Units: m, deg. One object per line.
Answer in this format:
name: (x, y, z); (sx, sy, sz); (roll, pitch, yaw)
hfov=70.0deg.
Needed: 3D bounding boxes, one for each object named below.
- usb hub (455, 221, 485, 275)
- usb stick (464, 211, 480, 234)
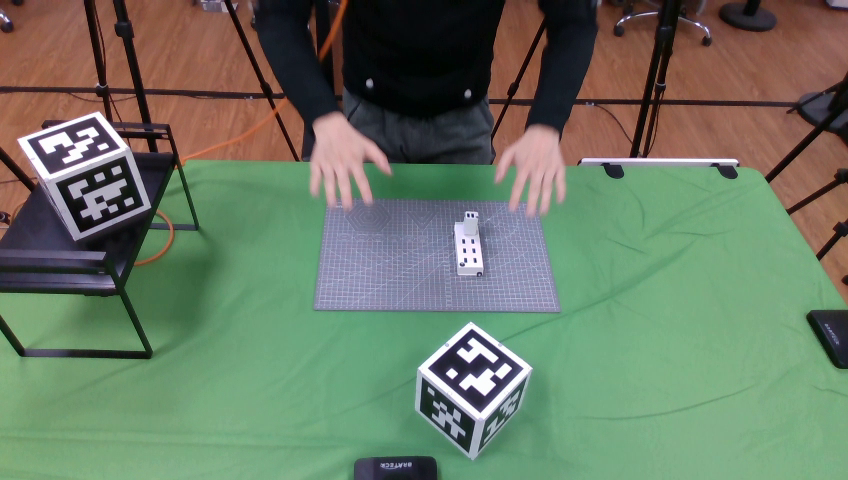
usb hub: (0.088, 0.014, 1.178); (0.049, 0.025, 0.124); (0, 46, -2)
usb stick: (0.093, -0.029, 1.179); (0.027, 0.059, 0.021); (-3, 47, -3)
